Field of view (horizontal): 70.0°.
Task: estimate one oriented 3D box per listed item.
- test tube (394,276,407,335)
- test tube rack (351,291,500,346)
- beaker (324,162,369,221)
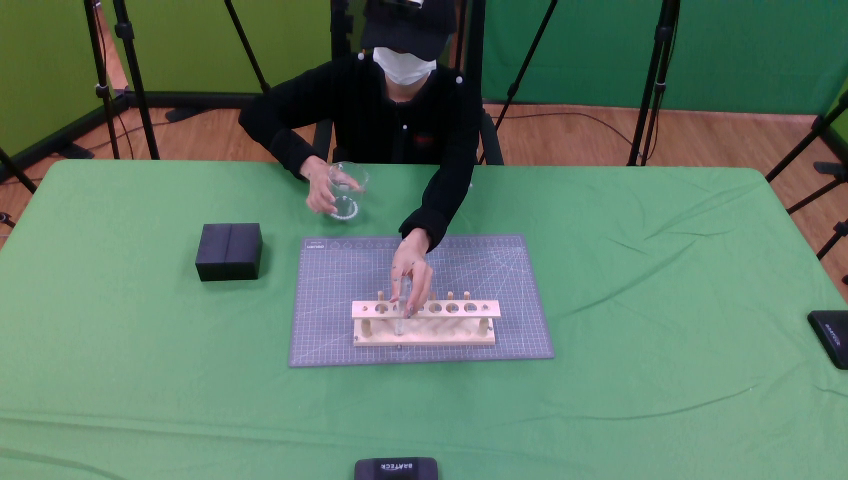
[{"bbox_3d":[-0.038,0.108,0.973,0.017,0.151,0.017,3,49,-3],"label":"test tube"},{"bbox_3d":[0.001,0.129,1.026,0.242,0.085,0.066,0,46,-4],"label":"test tube rack"},{"bbox_3d":[-0.154,-0.092,1.177,0.084,0.100,0.073,-7,57,-20],"label":"beaker"}]
